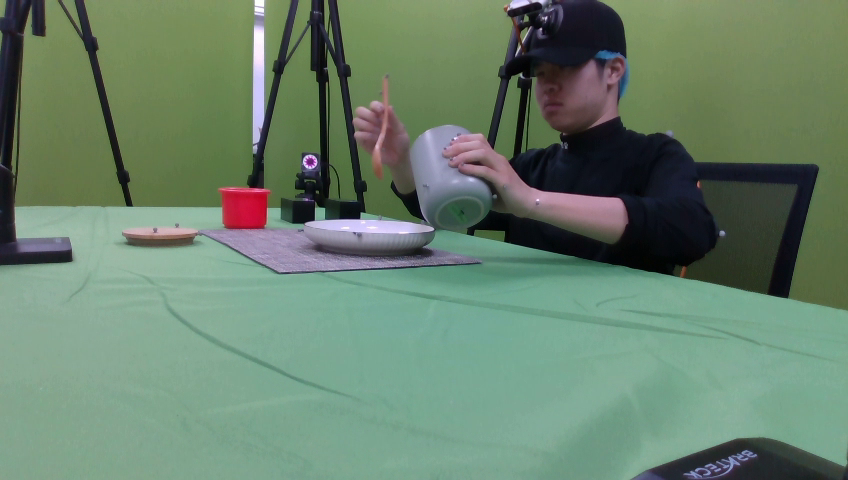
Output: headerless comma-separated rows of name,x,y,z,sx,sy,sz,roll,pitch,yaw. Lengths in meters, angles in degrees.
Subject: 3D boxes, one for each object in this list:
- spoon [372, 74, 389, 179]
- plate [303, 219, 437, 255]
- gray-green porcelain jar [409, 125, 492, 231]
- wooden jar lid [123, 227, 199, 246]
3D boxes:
spoon,-0.071,-0.197,1.038,0.022,0.193,0.041,10,-18,-11
plate,-0.084,-0.005,0.952,0.208,0.039,0.207,2,7,0
gray-green porcelain jar,0.038,-0.085,0.877,0.106,0.126,0.106,-8,-36,-5
wooden jar lid,-0.408,-0.006,0.942,0.108,0.020,0.108,3,6,0
